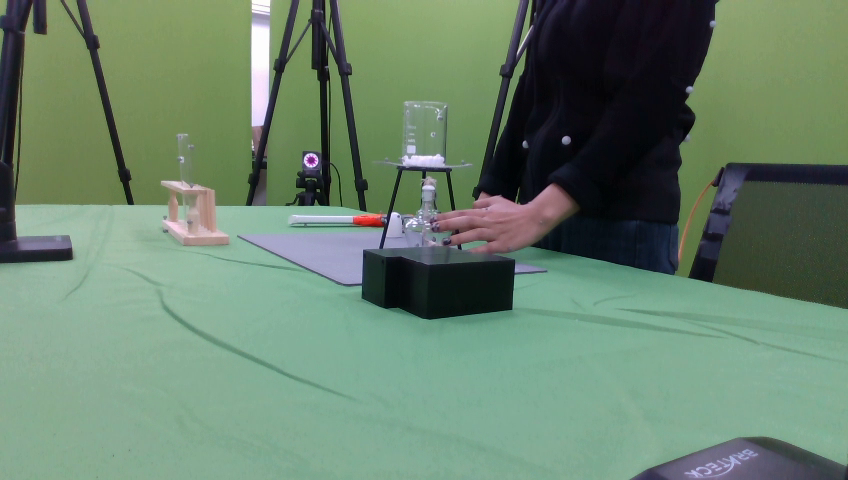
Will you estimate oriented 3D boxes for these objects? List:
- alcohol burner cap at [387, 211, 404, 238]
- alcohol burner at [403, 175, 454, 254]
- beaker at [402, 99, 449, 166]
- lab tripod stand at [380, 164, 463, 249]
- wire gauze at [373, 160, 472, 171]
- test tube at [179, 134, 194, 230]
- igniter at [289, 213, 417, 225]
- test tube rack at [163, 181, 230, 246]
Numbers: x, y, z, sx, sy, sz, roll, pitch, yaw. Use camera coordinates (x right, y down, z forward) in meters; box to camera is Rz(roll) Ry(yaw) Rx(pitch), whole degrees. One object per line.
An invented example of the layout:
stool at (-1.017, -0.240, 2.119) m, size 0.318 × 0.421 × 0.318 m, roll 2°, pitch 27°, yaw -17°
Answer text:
alcohol burner cap at (-0.053, -0.029, 1.107) m, size 0.034 × 0.048 × 0.034 m, roll 2°, pitch 9°, yaw 0°
alcohol burner at (0.007, -0.039, 0.919) m, size 0.078 × 0.119 × 0.078 m, roll 0°, pitch 8°, yaw 0°
beaker at (0.003, -0.168, 0.957) m, size 0.073 × 0.100 × 0.084 m, roll 8°, pitch 10°, yaw 35°
lab tripod stand at (-0.003, -0.055, 0.967) m, size 0.148 × 0.131 × 0.148 m, roll 2°, pitch 9°, yaw 0°
wire gauze at (-0.004, -0.120, 0.959) m, size 0.122 × 0.011 × 0.124 m, roll -5°, pitch 13°, yaw -33°
test tube at (-0.366, -0.089, 0.938) m, size 0.017 × 0.150 × 0.017 m, roll -1°, pitch 9°, yaw 1°
igniter at (-0.144, -0.044, 1.275) m, size 0.278 × 0.025 × 0.057 m, roll -1°, pitch -2°, yaw -27°
test tube rack at (-0.387, -0.050, 1.015) m, size 0.067 × 0.085 × 0.241 m, roll -2°, pitch 9°, yaw -30°
